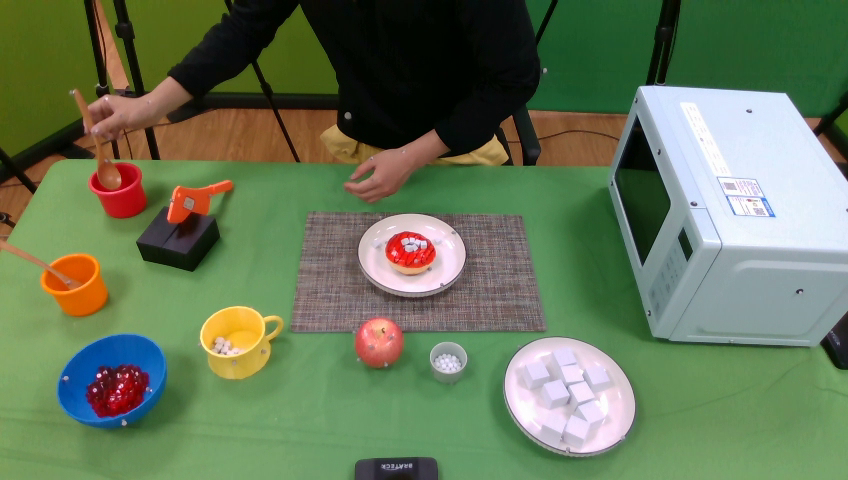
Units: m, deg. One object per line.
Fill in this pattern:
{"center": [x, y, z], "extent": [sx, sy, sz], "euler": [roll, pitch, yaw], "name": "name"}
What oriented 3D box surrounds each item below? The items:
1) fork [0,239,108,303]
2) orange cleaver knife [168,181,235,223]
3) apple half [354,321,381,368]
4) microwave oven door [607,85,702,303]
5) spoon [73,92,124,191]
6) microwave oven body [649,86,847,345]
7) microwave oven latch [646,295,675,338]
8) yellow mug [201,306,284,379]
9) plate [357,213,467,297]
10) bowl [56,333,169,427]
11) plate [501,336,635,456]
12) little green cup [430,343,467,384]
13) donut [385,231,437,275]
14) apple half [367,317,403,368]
{"center": [-0.633, 0.048, 1.017], "extent": [0.208, 0.018, 0.028], "euler": [40, 39, -27], "name": "fork"}
{"center": [-0.436, -0.077, 1.196], "extent": [0.012, 0.077, 0.211], "euler": [16, 15, 10], "name": "orange cleaver knife"}
{"center": [-0.097, 0.176, 0.985], "extent": [0.033, 0.081, 0.080], "euler": [-12, 48, -20], "name": "apple half"}
{"center": [0.423, -0.094, 1.140], "extent": [0.039, 0.245, 0.353], "euler": [2, 46, -1], "name": "microwave oven door"}
{"center": [-0.618, -0.185, 1.150], "extent": [0.021, 0.194, 0.041], "euler": [18, 37, 40], "name": "spoon"}
{"center": [0.568, -0.053, 1.118], "extent": [0.326, 0.261, 0.439], "euler": [2, 45, -1], "name": "microwave oven body"}
{"center": [0.412, 0.134, 1.061], "extent": [0.030, 0.029, 0.078], "euler": [4, 45, 1], "name": "microwave oven latch"}
{"center": [-0.291, 0.160, 0.993], "extent": [0.131, 0.064, 0.099], "euler": [-23, 51, -25], "name": "yellow mug"}
{"center": [-0.023, 0.032, 1.150], "extent": [0.209, 0.038, 0.208], "euler": [2, 46, -2], "name": "plate"}
{"center": [-0.456, 0.223, 0.911], "extent": [0.151, 0.077, 0.150], "euler": [3, 45, -2], "name": "bowl"}
{"center": [0.225, 0.248, 0.963], "extent": [0.208, 0.039, 0.206], "euler": [2, 46, -2], "name": "plate"}
{"center": [0.039, 0.203, 0.994], "extent": [0.061, 0.039, 0.061], "euler": [2, 46, -2], "name": "little green cup"}
{"center": [-0.025, 0.024, 1.142], "extent": [0.099, 0.048, 0.098], "euler": [3, 44, -3], "name": "donut"}
{"center": [-0.061, 0.167, 0.998], "extent": [0.053, 0.075, 0.080], "euler": [-11, 44, -20], "name": "apple half"}
